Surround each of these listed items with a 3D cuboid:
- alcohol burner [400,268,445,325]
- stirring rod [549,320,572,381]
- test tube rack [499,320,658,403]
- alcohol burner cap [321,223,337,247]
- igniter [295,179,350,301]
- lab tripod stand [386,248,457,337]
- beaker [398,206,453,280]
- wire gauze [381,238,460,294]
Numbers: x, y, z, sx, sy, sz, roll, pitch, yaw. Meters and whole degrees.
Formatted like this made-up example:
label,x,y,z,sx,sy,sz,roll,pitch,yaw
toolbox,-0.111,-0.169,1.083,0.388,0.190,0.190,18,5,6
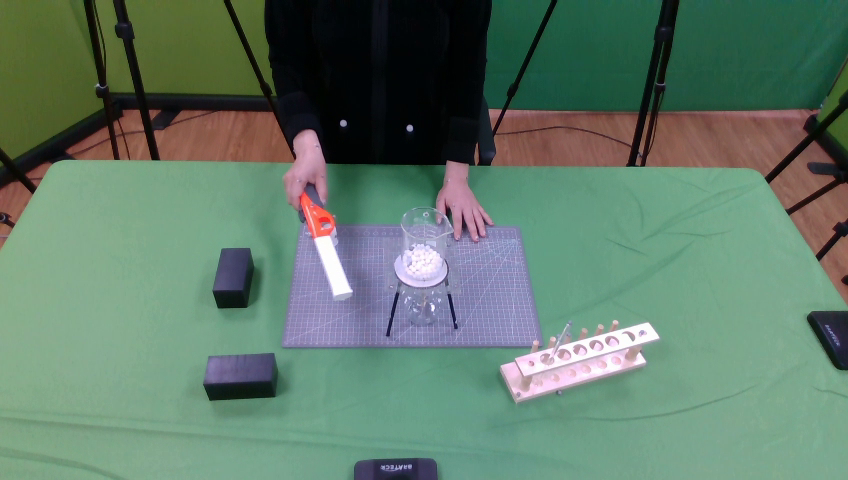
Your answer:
label,x,y,z,sx,sy,sz,roll,pitch,yaw
alcohol burner,-0.003,0.092,1.042,0.078,0.120,0.077,1,46,-1
stirring rod,0.202,0.167,0.901,0.006,0.177,0.014,-17,54,-11
test tube rack,0.252,0.187,0.994,0.243,0.085,0.066,-12,48,-15
alcohol burner cap,-0.188,-0.011,1.176,0.034,0.048,0.033,1,46,-1
igniter,-0.183,-0.010,1.063,0.057,0.025,0.274,-10,52,-21
lab tripod stand,-0.010,0.087,1.032,0.148,0.132,0.147,1,45,-1
beaker,0.000,0.008,0.950,0.084,0.101,0.073,10,45,6
wire gauze,-0.007,0.042,0.985,0.125,0.011,0.120,-1,43,-2
